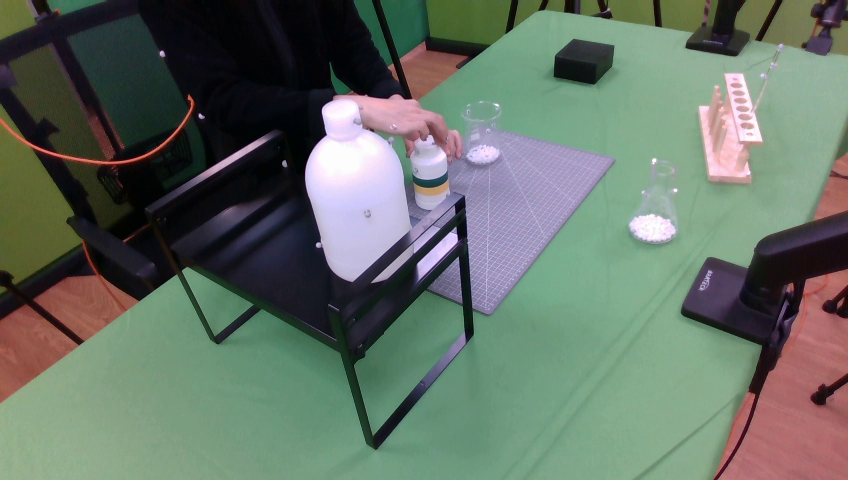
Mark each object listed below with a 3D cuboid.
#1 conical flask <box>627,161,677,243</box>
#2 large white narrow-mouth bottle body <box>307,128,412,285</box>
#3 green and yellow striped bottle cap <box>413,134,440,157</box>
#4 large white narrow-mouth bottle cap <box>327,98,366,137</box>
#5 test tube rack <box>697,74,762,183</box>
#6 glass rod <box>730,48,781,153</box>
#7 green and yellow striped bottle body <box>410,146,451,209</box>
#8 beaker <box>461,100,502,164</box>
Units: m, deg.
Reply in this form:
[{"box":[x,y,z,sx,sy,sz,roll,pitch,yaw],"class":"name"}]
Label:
[{"box":[0.355,-0.061,0.921,0.075,0.122,0.075,-4,41,4],"class":"conical flask"},{"box":[-0.070,-0.051,0.638,0.102,0.195,0.101,-3,40,3],"class":"large white narrow-mouth bottle body"},{"box":[0.004,-0.156,0.997,0.045,0.020,0.045,-1,39,1],"class":"green and yellow striped bottle cap"},{"box":[-0.075,-0.118,0.581,0.038,0.024,0.037,-3,40,3],"class":"large white narrow-mouth bottle cap"},{"box":[0.547,-0.208,1.094,0.066,0.085,0.242,5,42,15],"class":"test tube rack"},{"box":[0.554,-0.228,1.015,0.008,0.200,0.008,1,44,-1],"class":"glass rod"},{"box":[0.011,-0.117,1.032,0.063,0.120,0.063,-4,40,4],"class":"green and yellow striped bottle body"},{"box":[0.111,-0.200,1.132,0.084,0.100,0.073,-27,45,-22],"class":"beaker"}]
